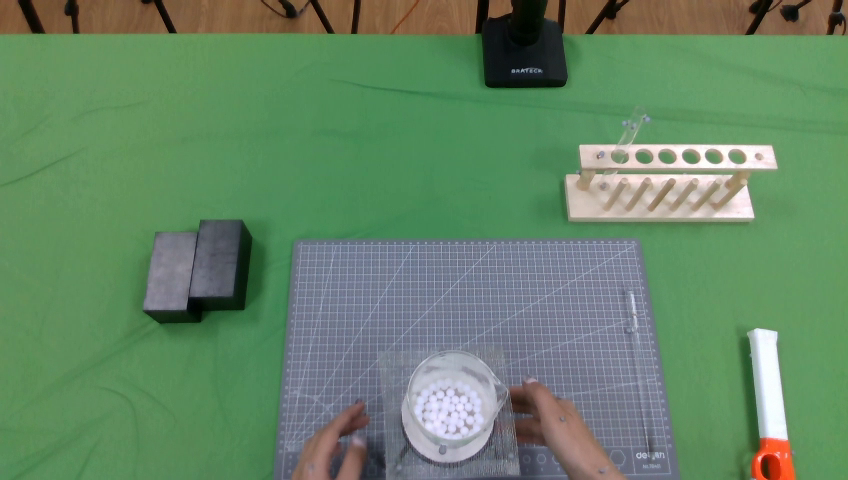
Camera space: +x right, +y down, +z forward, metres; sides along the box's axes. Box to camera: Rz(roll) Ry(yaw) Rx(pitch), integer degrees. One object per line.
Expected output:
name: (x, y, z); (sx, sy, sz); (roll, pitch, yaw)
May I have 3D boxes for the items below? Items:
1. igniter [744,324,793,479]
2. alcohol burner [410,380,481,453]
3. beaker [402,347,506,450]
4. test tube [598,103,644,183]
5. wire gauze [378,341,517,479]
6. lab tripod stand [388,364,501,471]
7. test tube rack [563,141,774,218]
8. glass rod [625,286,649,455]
igniter: (0.391, 0.230, 0.682); (0.057, 0.025, 0.274); (11, 67, -8)
alcohol burner: (0.024, 0.184, 0.643); (0.078, 0.120, 0.077); (1, 65, -2)
beaker: (0.024, 0.141, 0.526); (0.084, 0.101, 0.073); (-5, 66, -3)
test tube: (0.238, -0.114, 0.742); (0.017, 0.151, 0.017); (0, 63, 0)
wire gauze: (0.020, 0.158, 0.572); (0.125, 0.011, 0.120); (-4, 65, -1)
lab tripod stand: (0.019, 0.187, 0.631); (0.148, 0.132, 0.147); (0, 66, 1)
test tube rack: (0.311, -0.076, 0.781); (0.242, 0.086, 0.066); (0, 66, -1)
glass rod: (0.253, 0.151, 0.720); (0.008, 0.008, 0.198); (1, 69, -1)
